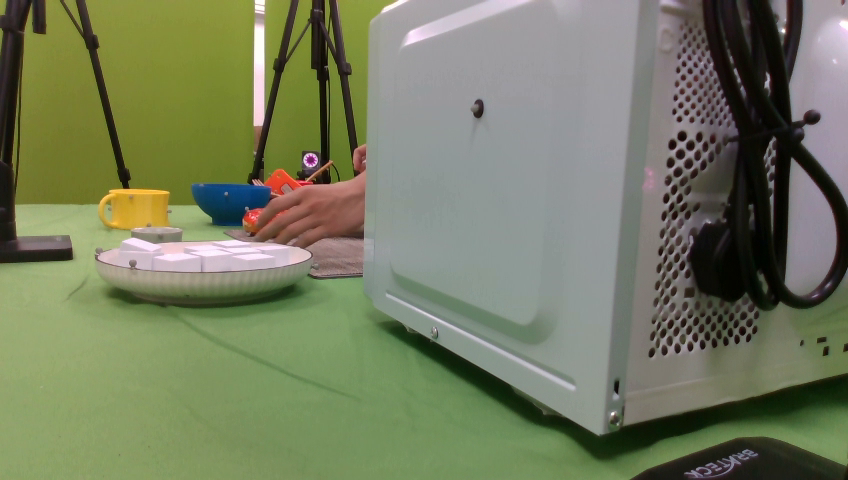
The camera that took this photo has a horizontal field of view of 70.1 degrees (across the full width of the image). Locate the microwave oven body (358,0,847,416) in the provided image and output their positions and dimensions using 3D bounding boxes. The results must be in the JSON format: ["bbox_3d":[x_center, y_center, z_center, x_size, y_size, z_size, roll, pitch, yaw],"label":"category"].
[{"bbox_3d":[0.211,-0.047,0.474,0.444,0.260,0.324,-1,7,-28],"label":"microwave oven body"}]

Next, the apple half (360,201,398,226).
[{"bbox_3d":[-0.087,-0.059,1.190,0.081,0.033,0.081,10,30,-5],"label":"apple half"}]

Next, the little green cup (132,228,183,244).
[{"bbox_3d":[-0.342,0.006,0.779,0.061,0.038,0.061,2,8,0],"label":"little green cup"}]

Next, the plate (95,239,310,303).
[{"bbox_3d":[-0.224,0.031,0.629,0.208,0.039,0.207,2,8,0],"label":"plate"}]

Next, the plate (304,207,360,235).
[{"bbox_3d":[-0.123,-0.037,1.148,0.209,0.038,0.209,2,7,0],"label":"plate"}]

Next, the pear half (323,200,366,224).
[{"bbox_3d":[-0.155,-0.058,1.197,0.088,0.031,0.070,14,33,-4],"label":"pear half"}]

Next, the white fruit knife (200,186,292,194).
[{"bbox_3d":[-0.399,-0.111,1.368,0.208,0.016,0.027,-4,-19,-30],"label":"white fruit knife"}]

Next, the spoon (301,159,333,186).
[{"bbox_3d":[-0.316,-0.159,1.639,0.194,0.022,0.041,-49,32,-20],"label":"spoon"}]

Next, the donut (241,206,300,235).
[{"bbox_3d":[-0.263,-0.031,1.039,0.099,0.048,0.099,4,10,0],"label":"donut"}]

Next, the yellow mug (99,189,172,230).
[{"bbox_3d":[-0.518,-0.055,1.080,0.099,0.064,0.131,6,9,26],"label":"yellow mug"}]

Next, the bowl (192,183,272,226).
[{"bbox_3d":[-0.381,-0.071,1.202,0.151,0.077,0.151,3,7,0],"label":"bowl"}]

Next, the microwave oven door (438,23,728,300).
[{"bbox_3d":[0.181,-0.072,0.621,0.358,0.243,0.039,-2,8,-29],"label":"microwave oven door"}]

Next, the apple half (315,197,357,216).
[{"bbox_3d":[-0.162,-0.052,1.121,0.081,0.053,0.074,5,7,-14],"label":"apple half"}]

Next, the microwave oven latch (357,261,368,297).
[{"bbox_3d":[-0.019,0.033,0.531,0.079,0.029,0.030,-1,7,-27],"label":"microwave oven latch"}]

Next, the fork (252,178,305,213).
[{"bbox_3d":[-0.295,-0.084,1.292,0.206,0.018,0.028,29,10,25],"label":"fork"}]

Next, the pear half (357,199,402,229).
[{"bbox_3d":[-0.074,-0.047,1.131,0.076,0.056,0.110,12,5,32],"label":"pear half"}]

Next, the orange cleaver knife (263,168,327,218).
[{"bbox_3d":[-0.262,-0.088,1.353,0.211,0.077,0.012,28,13,-1],"label":"orange cleaver knife"}]
